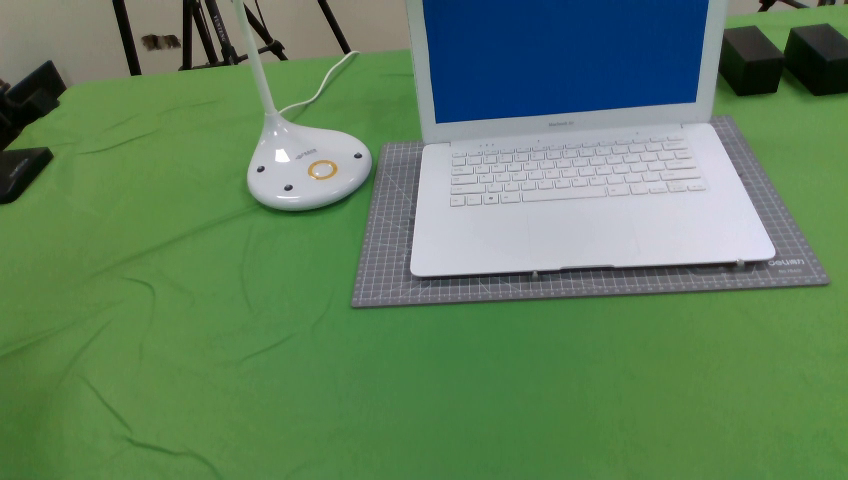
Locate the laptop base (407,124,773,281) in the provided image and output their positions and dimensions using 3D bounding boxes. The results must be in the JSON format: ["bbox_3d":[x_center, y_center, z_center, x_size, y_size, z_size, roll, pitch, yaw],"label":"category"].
[{"bbox_3d":[0.163,-0.045,0.676,0.354,0.023,0.233,-3,45,7],"label":"laptop base"}]

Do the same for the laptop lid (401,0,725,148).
[{"bbox_3d":[0.156,-0.222,0.696,0.356,0.244,0.013,-5,34,8],"label":"laptop lid"}]

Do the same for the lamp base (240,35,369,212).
[{"bbox_3d":[-0.169,-0.150,0.735,0.177,0.182,0.160,26,52,36],"label":"lamp base"}]
